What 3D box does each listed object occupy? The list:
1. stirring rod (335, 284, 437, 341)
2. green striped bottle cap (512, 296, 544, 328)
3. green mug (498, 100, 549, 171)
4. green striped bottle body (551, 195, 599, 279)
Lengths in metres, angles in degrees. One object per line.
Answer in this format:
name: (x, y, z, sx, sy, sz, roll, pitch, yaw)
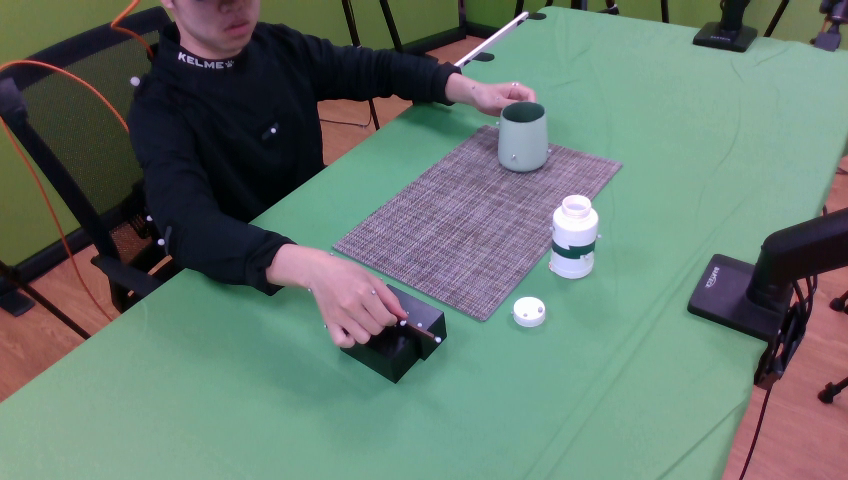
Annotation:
stirring rod: (-0.053, 0.093, 0.793, 0.175, 0.014, 0.006, 23, 68, 32)
green striped bottle cap: (0.144, 0.099, 0.837, 0.044, 0.020, 0.044, -1, 43, 2)
green mug: (0.182, -0.197, 1.101, 0.092, 0.105, 0.125, 2, 41, 12)
green striped bottle body: (0.217, -0.006, 0.870, 0.063, 0.120, 0.063, -4, 41, 4)
